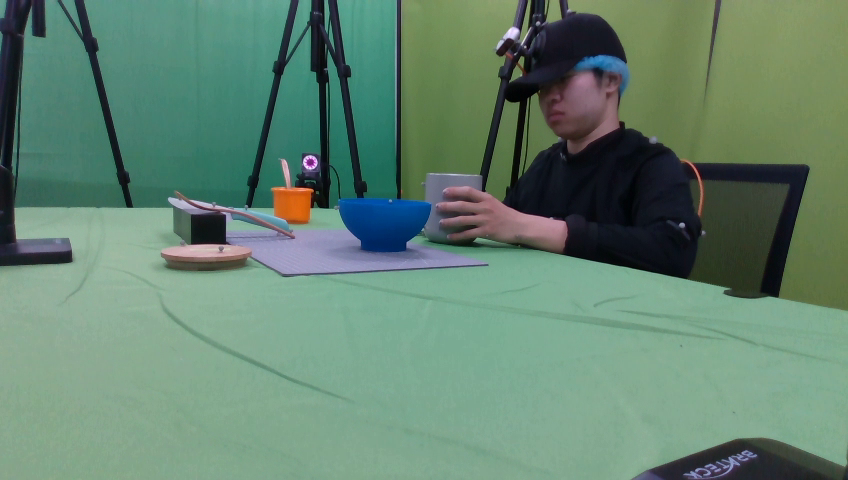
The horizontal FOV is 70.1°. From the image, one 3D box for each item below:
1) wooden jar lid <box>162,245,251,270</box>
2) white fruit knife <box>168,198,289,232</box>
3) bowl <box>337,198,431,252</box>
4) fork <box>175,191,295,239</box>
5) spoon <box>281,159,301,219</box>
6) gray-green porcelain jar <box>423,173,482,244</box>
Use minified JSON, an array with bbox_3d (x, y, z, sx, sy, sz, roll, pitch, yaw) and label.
[{"bbox_3d":[-0.278,0.022,0.777,0.108,0.020,0.108,2,6,0],"label":"wooden jar lid"},{"bbox_3d":[-0.329,-0.044,1.036,0.208,0.027,0.016,14,-1,-32],"label":"white fruit knife"},{"bbox_3d":[-0.066,-0.024,0.967,0.151,0.077,0.151,3,7,0],"label":"bowl"},{"bbox_3d":[-0.305,-0.039,0.993,0.208,0.018,0.028,19,-9,-34],"label":"fork"},{"bbox_3d":[-0.307,-0.117,1.368,0.042,0.193,0.021,1,-38,-23],"label":"spoon"},{"bbox_3d":[0.051,-0.059,1.116,0.106,0.126,0.106,2,8,0],"label":"gray-green porcelain jar"}]
